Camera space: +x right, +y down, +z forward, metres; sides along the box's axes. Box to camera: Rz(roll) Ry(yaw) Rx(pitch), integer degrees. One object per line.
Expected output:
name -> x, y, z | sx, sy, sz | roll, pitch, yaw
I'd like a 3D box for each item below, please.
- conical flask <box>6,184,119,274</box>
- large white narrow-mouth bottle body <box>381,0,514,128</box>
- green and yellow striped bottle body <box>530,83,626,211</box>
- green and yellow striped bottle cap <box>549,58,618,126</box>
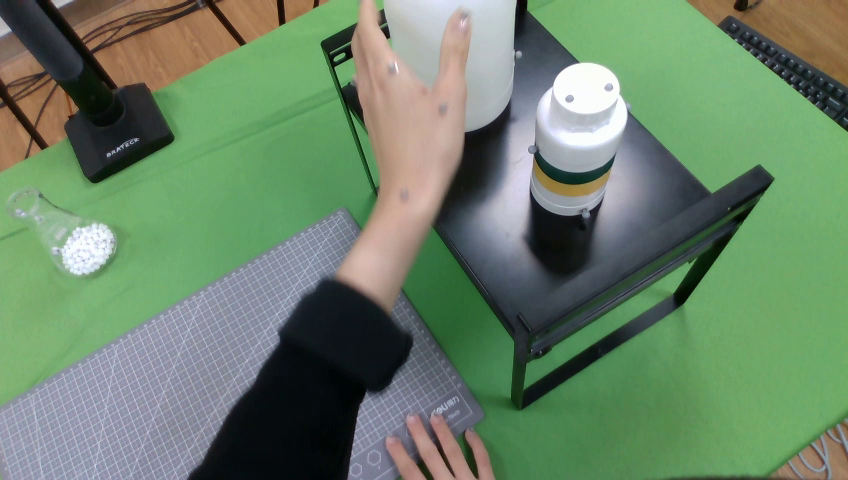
conical flask -> -0.411, -0.017, 0.683 | 0.075, 0.123, 0.074 | -3, 63, 6
large white narrow-mouth bottle body -> 0.019, -0.181, 0.476 | 0.101, 0.196, 0.101 | -3, 64, 7
green and yellow striped bottle body -> 0.114, -0.077, 0.455 | 0.063, 0.120, 0.062 | -3, 63, 6
green and yellow striped bottle cap -> 0.107, -0.101, 0.409 | 0.045, 0.020, 0.045 | -2, 65, 4
